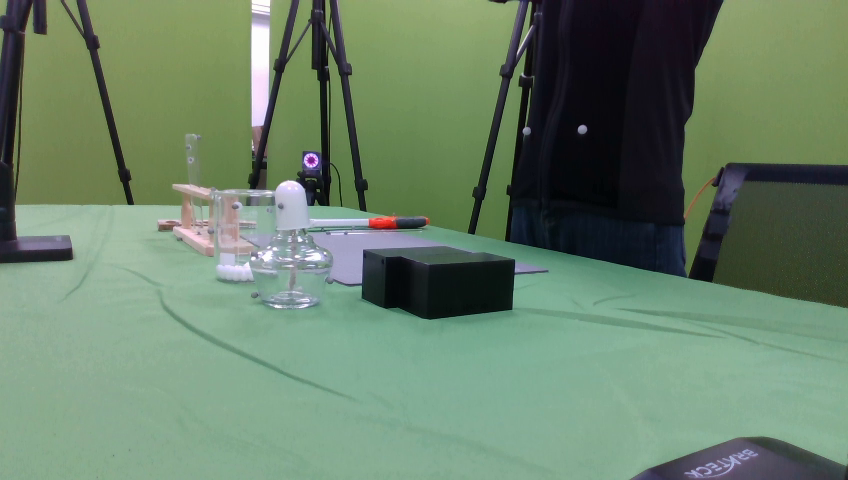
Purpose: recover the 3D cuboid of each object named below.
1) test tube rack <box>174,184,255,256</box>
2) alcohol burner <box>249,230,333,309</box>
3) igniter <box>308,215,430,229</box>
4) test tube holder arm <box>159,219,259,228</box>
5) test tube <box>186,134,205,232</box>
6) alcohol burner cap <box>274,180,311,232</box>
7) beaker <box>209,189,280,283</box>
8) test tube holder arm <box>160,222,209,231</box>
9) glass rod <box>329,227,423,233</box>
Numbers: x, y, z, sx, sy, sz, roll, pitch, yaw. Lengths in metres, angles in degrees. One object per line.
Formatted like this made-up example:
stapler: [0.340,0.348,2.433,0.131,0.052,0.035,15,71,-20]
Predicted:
test tube rack: [-0.327,-0.036,0.928,0.067,0.085,0.241,-2,9,-32]
alcohol burner: [-0.125,0.004,0.568,0.078,0.119,0.078,2,9,0]
igniter: [-0.109,-0.037,1.228,0.278,0.025,0.057,-3,-1,-35]
test tube holder arm: [-0.390,-0.030,1.107,0.179,0.015,0.013,-3,44,-39]
test tube: [-0.350,-0.087,0.928,0.017,0.150,0.017,-3,5,1]
alcohol burner cap: [-0.125,-0.032,0.563,0.034,0.048,0.034,-5,6,1]
beaker: [-0.200,-0.006,0.677,0.084,0.100,0.074,3,7,8]
test tube holder arm: [-0.423,-0.024,1.075,0.088,0.015,0.010,-3,44,-38]
glass rod: [-0.087,-0.019,1.148,0.201,0.008,0.008,-3,8,-32]
